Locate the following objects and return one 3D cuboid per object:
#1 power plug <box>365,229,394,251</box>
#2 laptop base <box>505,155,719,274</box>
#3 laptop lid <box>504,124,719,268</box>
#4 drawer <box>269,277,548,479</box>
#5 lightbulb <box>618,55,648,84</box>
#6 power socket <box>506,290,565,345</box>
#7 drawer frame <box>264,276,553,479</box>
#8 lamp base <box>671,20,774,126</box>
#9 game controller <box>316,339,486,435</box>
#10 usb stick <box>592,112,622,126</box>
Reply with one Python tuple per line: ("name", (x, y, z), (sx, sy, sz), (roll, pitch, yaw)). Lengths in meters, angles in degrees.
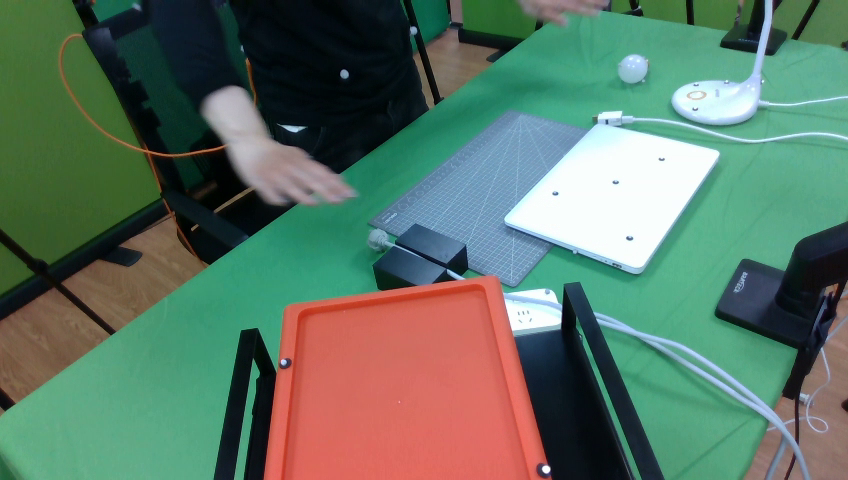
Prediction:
("power plug", (-0.067, 0.010, 0.954), (0.035, 0.053, 0.072), (-41, 53, 1))
("laptop base", (0.326, -0.083, 1.028), (0.233, 0.023, 0.355), (21, 48, 32))
("laptop lid", (0.323, -0.093, 1.021), (0.240, 0.013, 0.358), (23, 49, 32))
("drawer", (-0.018, 0.137, 0.493), (0.195, 0.073, 0.210), (-7, 41, -1))
("lightbulb", (0.464, -0.376, 1.324), (0.059, 0.059, 0.108), (22, 33, 30))
("power socket", (0.081, 0.112, 0.822), (0.227, 0.033, 0.072), (-7, 41, 0))
("drawer frame", (-0.016, 0.137, 0.490), (0.202, 0.083, 0.212), (-8, 41, -1))
("lamp base", (0.581, -0.332, 1.154), (0.179, 0.181, 0.160), (2, 41, 7))
("game controller", (-0.020, 0.119, 0.533), (0.155, 0.052, 0.096), (-3, 40, 1))
("usb stick", (0.360, -0.239, 1.197), (0.059, 0.021, 0.027), (4, 43, 28))
